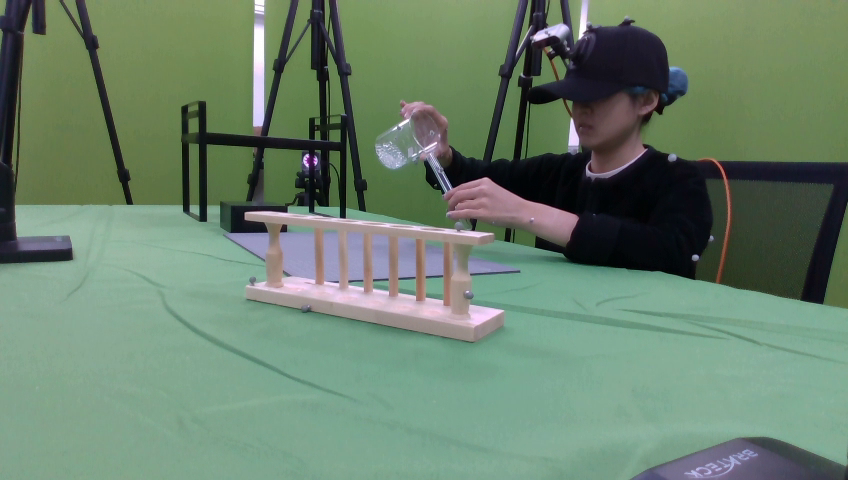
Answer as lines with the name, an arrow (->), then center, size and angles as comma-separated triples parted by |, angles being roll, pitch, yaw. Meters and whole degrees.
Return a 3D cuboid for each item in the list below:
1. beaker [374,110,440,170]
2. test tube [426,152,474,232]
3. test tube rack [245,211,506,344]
beaker -> -0.031, -0.167, 1.048 | 0.100, 0.084, 0.074 | -22, -12, 41
test tube -> 0.043, -0.080, 0.995 | 0.017, 0.150, 0.017 | -26, -13, -6
test tube rack -> -0.049, 0.025, 0.547 | 0.241, 0.085, 0.067 | 7, 8, 28
